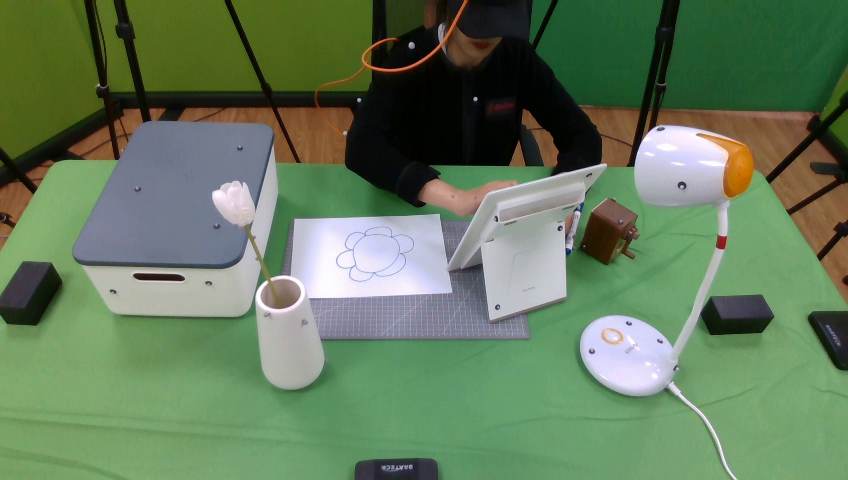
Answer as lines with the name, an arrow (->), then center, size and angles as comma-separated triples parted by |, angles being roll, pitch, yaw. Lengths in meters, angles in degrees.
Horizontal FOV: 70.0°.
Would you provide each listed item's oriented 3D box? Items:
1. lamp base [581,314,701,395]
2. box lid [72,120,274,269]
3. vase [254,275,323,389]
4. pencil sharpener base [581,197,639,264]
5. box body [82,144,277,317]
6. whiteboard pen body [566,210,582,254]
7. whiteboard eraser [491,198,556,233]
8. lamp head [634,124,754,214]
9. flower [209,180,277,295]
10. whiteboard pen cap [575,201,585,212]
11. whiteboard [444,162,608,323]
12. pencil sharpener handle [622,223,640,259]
lamp base -> 0.361, 0.145, 0.973 | 0.178, 0.181, 0.160 | 34, 53, 23
box lid -> -0.417, -0.094, 1.056 | 0.263, 0.015, 0.369 | 1, 47, -3
vase -> -0.209, 0.143, 0.921 | 0.098, 0.201, 0.097 | 1, 46, -1
pencil sharpener base -> 0.362, -0.017, 1.179 | 0.076, 0.107, 0.061 | 37, 54, 27
box body -> -0.421, -0.041, 1.108 | 0.254, 0.161, 0.361 | 2, 46, -3
whiteboard pen body -> 0.309, -0.025, 1.241 | 0.017, 0.017, 0.140 | 17, 51, 12
whiteboard eraser -> 0.182, -0.042, 1.102 | 0.113, 0.056, 0.041 | -11, 69, -22
lamp head -> 0.351, -0.089, 0.776 | 0.112, 0.113, 0.122 | -30, 30, -28
flower -> -0.216, 0.075, 0.871 | 0.044, 0.363, 0.038 | -29, 36, -19
whiteboard pen cap -> 0.327, -0.069, 1.278 | 0.018, 0.018, 0.033 | 18, 52, 12
whiteboard -> 0.186, 0.025, 1.029 | 0.217, 0.306, 0.143 | -14, 68, -17
pencil sharpener handle -> 0.397, 0.003, 1.146 | 0.030, 0.068, 0.036 | 37, 46, 27
